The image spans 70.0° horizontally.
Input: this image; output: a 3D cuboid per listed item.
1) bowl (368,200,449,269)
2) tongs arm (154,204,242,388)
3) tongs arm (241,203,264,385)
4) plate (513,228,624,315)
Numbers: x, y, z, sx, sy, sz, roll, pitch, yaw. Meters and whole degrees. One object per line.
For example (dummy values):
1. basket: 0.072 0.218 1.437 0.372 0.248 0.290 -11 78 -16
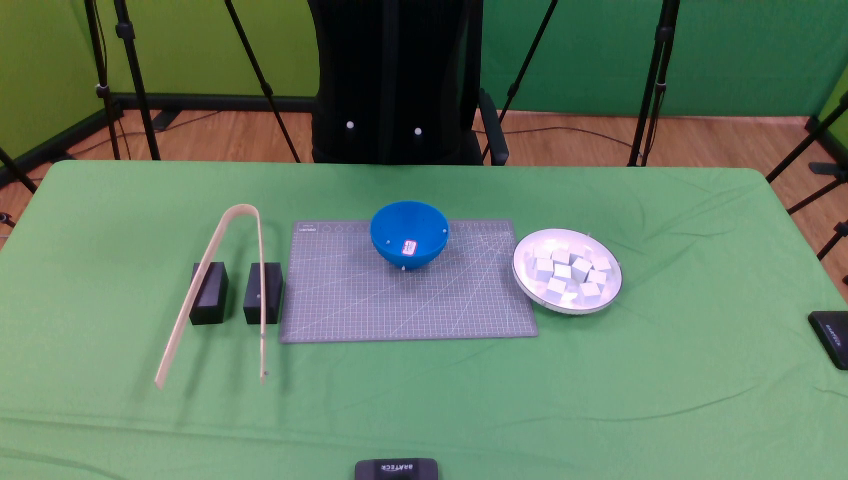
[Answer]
1. bowl: -0.030 0.002 1.151 0.151 0.077 0.150 2 46 -2
2. tongs arm: -0.375 0.075 1.022 0.028 0.028 0.385 3 46 3
3. tongs arm: -0.295 0.075 1.031 0.051 0.026 0.382 -4 47 -8
4. plate: 0.268 0.063 1.146 0.208 0.039 0.206 3 46 -3
